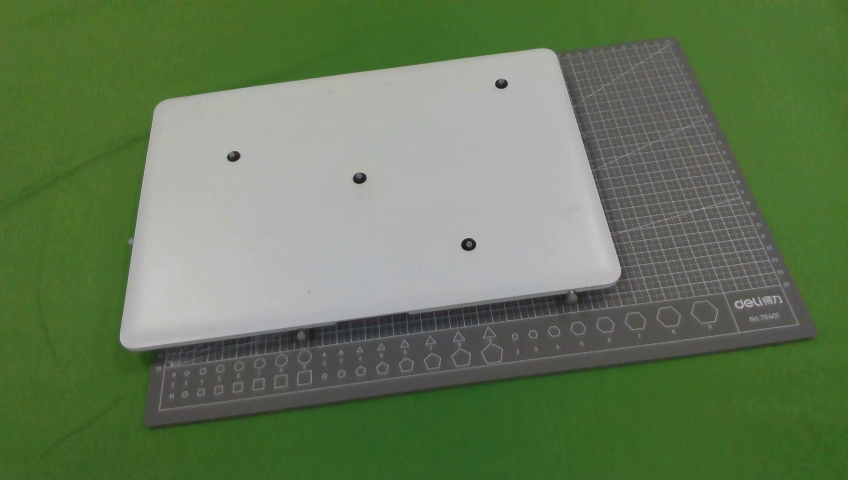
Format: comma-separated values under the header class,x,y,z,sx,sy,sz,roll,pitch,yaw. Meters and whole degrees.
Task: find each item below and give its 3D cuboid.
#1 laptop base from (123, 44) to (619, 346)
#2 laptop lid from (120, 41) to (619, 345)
class,x,y,z,sx,sy,sz,roll,pitch,yaw
laptop base,-0.049,-0.046,0.482,0.354,0.023,0.233,-8,62,0
laptop lid,-0.050,-0.050,0.471,0.357,0.013,0.239,-6,61,1
